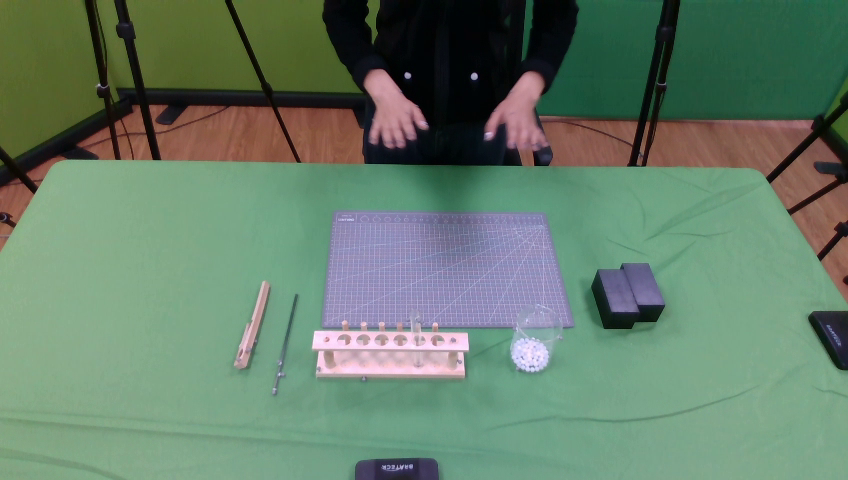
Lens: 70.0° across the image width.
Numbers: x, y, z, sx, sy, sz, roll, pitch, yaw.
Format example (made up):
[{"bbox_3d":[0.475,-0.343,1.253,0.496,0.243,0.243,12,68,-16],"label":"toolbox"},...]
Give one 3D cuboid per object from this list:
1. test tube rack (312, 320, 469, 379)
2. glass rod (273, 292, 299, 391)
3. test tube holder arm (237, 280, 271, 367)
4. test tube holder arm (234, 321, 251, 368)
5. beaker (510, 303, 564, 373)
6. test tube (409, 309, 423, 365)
[{"bbox_3d":[-0.054,0.173,0.984,0.242,0.085,0.066,1,46,-3],"label":"test tube rack"},{"bbox_3d":[-0.233,0.167,1.030,0.008,0.008,0.198,3,46,0],"label":"glass rod"},{"bbox_3d":[-0.290,0.139,1.042,0.013,0.015,0.177,-16,42,22],"label":"test tube holder arm"},{"bbox_3d":[-0.299,0.173,1.013,0.010,0.015,0.087,-16,42,22],"label":"test tube holder arm"},{"bbox_3d":[0.182,0.164,1.000,0.074,0.101,0.083,2,45,-1],"label":"beaker"},{"bbox_3d":[-0.012,0.153,0.937,0.017,0.151,0.017,-1,50,2],"label":"test tube"}]
